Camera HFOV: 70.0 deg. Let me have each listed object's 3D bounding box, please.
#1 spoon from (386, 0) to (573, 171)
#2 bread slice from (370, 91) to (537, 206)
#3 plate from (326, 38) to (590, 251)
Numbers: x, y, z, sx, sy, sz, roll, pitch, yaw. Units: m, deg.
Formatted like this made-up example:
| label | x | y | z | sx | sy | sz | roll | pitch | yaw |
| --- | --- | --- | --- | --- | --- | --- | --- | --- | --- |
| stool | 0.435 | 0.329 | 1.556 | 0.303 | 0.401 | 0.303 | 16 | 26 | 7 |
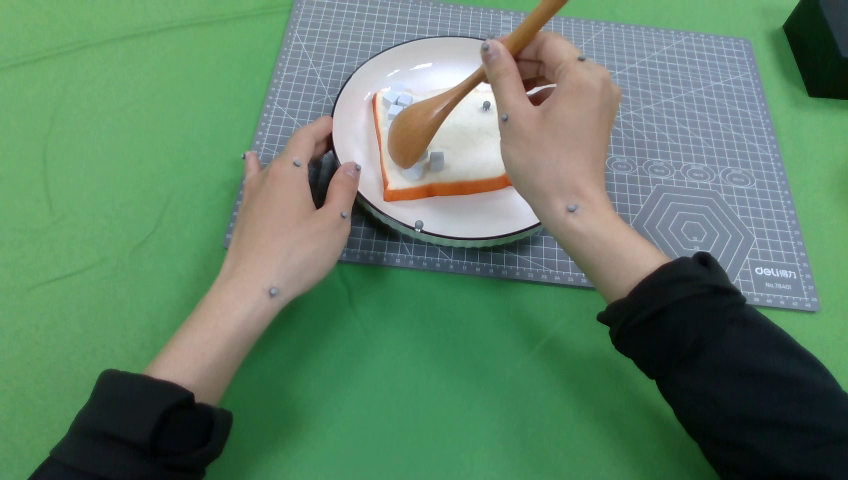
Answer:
| label | x | y | z | sx | sy | sz | roll | pitch | yaw |
| --- | --- | --- | --- | --- | --- | --- | --- | --- | --- |
| spoon | 0.035 | -0.110 | 0.406 | 0.022 | 0.194 | 0.041 | 5 | 55 | -51 |
| bread slice | 0.025 | -0.081 | 0.493 | 0.132 | 0.019 | 0.104 | -8 | 61 | -8 |
| plate | 0.027 | -0.077 | 0.488 | 0.209 | 0.038 | 0.207 | 2 | 60 | -4 |
